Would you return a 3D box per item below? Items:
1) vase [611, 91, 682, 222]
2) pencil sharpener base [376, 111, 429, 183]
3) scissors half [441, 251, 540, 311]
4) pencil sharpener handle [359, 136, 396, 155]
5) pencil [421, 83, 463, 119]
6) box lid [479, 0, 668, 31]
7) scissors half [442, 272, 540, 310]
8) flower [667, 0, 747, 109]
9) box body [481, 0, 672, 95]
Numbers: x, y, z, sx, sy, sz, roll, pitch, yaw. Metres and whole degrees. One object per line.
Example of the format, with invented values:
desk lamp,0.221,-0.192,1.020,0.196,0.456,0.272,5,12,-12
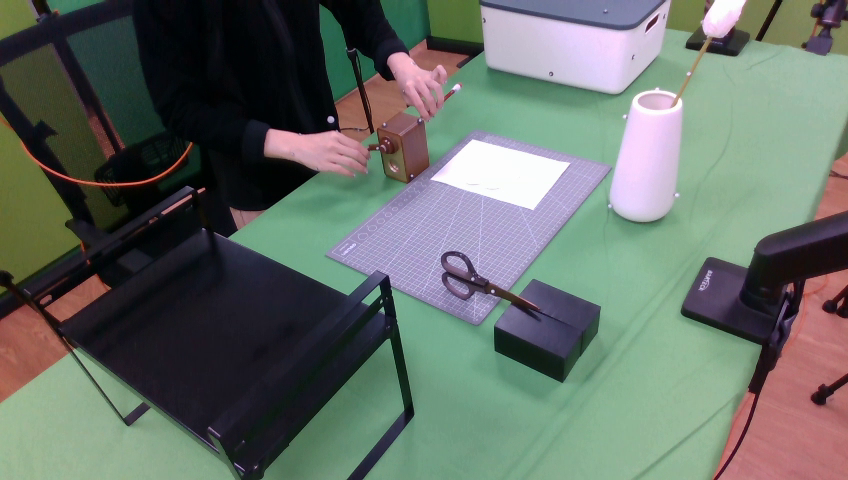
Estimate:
vase,0.348,-0.125,0.935,0.098,0.201,0.097,-3,40,3
pencil sharpener base,-0.039,-0.169,1.115,0.061,0.107,0.077,23,50,31
scissors half,0.087,0.056,0.824,0.013,0.040,0.173,-30,44,-35
pencil sharpener handle,-0.084,-0.163,1.078,0.067,0.036,0.031,8,40,43
pencil,0.021,-0.255,1.161,0.012,0.012,0.194,21,50,29
box lid,0.335,-0.536,1.331,0.368,0.015,0.264,23,49,30
scissors half,0.089,0.074,0.832,0.013,0.040,0.173,-24,23,-38
flower,0.354,-0.187,0.879,0.038,0.362,0.044,30,48,14
box body,0.341,-0.480,1.381,0.361,0.161,0.255,22,48,30
